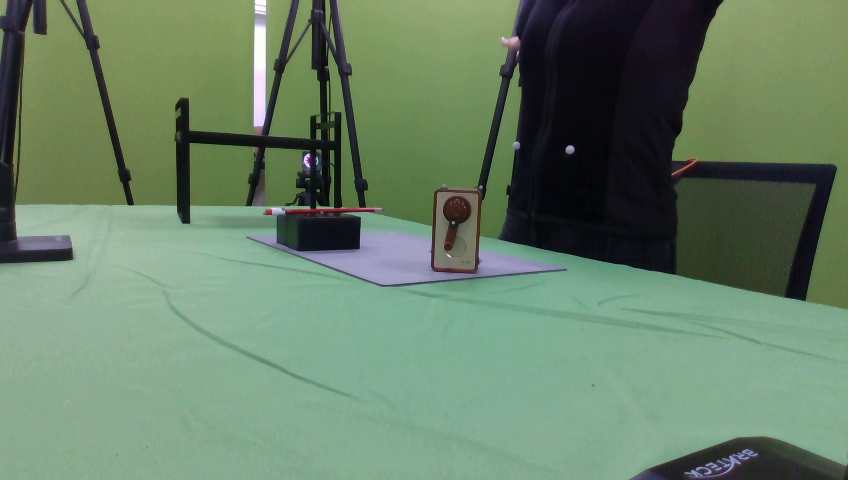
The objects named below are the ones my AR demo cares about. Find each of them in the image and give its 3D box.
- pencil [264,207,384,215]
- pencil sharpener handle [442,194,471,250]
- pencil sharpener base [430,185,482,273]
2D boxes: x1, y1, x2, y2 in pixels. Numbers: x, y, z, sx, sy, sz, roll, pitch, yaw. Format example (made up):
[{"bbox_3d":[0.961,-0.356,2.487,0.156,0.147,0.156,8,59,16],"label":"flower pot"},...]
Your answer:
[{"bbox_3d":[-0.152,-0.047,0.946,0.195,0.012,0.012,-3,9,-27],"label":"pencil"},{"bbox_3d":[0.036,-0.021,0.731,0.036,0.067,0.030,11,8,3],"label":"pencil sharpener handle"},{"bbox_3d":[0.042,-0.016,0.783,0.061,0.107,0.076,3,8,4],"label":"pencil sharpener base"}]
